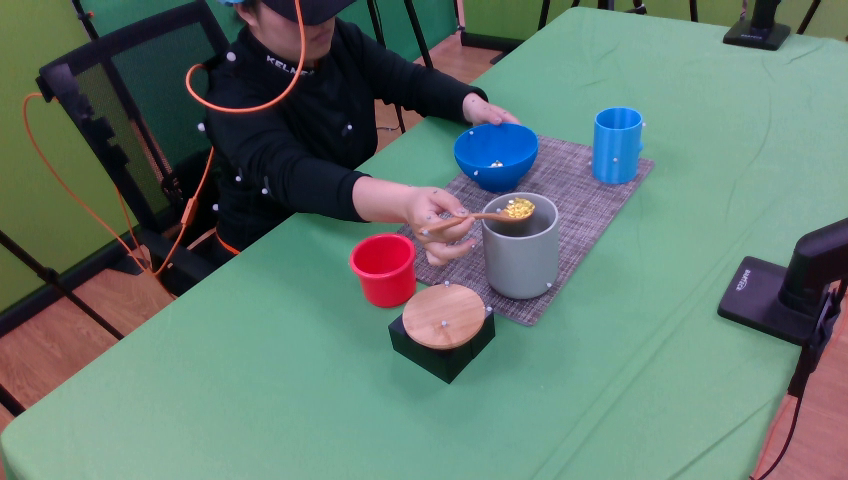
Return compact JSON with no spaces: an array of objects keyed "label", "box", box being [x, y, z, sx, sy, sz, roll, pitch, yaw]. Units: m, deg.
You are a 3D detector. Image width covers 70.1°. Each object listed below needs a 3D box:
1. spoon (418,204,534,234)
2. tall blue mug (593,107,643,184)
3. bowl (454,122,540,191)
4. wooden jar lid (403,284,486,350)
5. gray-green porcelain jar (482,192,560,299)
[{"label":"spoon","box":[0.070,-0.028,0.788,0.195,0.021,0.041,-8,28,-37]},{"label":"tall blue mug","box":[0.330,-0.172,1.052,0.078,0.108,0.106,-12,40,0]},{"label":"bowl","box":[0.131,-0.140,1.078,0.151,0.077,0.150,-5,40,5]},{"label":"wooden jar lid","box":[0.027,0.101,0.786,0.108,0.021,0.108,-5,39,4]},{"label":"gray-green porcelain jar","box":[0.139,0.012,0.858,0.106,0.127,0.105,-6,40,5]}]
